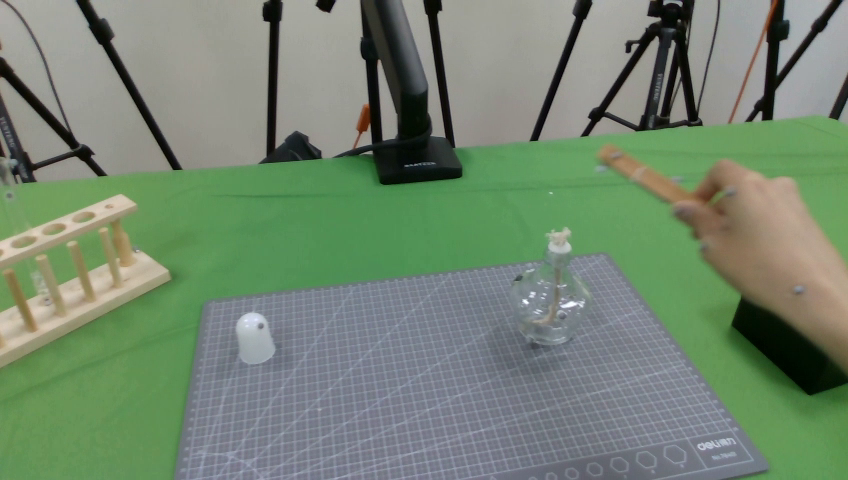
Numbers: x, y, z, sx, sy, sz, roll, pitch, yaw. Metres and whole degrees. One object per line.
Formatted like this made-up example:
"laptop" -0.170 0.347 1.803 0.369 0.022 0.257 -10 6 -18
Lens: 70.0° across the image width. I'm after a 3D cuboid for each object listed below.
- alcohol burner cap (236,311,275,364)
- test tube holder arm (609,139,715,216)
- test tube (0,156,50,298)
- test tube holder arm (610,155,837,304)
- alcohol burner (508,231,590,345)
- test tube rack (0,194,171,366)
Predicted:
"alcohol burner cap" -0.157 0.087 0.559 0.034 0.048 0.033 0 35 0
"test tube holder arm" 0.173 -0.046 0.446 0.087 0.015 0.010 45 14 31
"test tube" -0.383 -0.008 0.577 0.017 0.151 0.017 1 30 0
"test tube holder arm" 0.204 -0.018 0.428 0.176 0.015 0.013 45 13 30
"alcohol burner" 0.119 0.040 0.566 0.078 0.120 0.077 1 36 0
"test tube rack" -0.380 0.047 0.583 0.066 0.086 0.242 25 42 33
